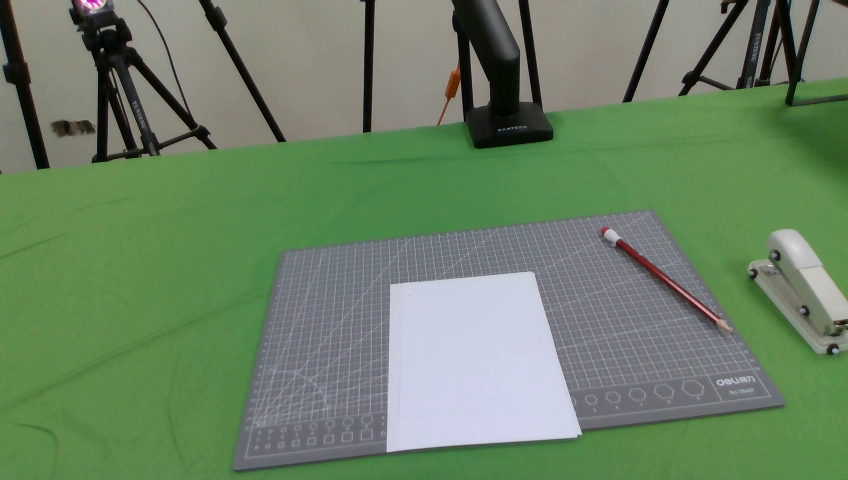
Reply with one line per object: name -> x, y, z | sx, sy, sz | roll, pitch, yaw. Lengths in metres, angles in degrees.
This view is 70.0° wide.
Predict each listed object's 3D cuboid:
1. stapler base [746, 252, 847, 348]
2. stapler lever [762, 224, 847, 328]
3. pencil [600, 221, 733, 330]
stapler base -> 0.357, 0.048, 0.576 | 0.041, 0.024, 0.129 | -10, 38, 0
stapler lever -> 0.355, 0.029, 0.560 | 0.027, 0.040, 0.117 | -10, 37, 0
pencil -> 0.242, 0.031, 0.621 | 0.012, 0.012, 0.192 | -18, 38, -16
